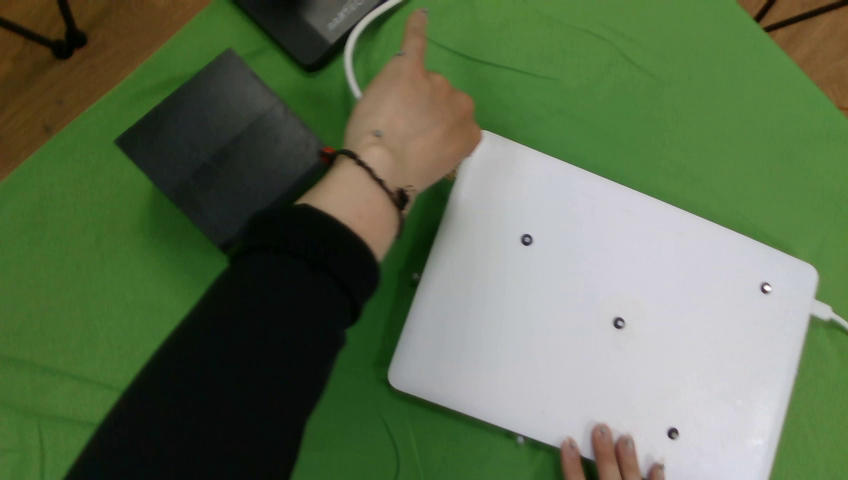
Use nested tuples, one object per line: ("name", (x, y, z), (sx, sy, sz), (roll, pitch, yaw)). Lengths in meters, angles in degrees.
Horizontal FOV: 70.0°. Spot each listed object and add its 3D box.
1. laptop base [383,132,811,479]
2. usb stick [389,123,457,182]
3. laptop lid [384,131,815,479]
("laptop base", (0.164, 0.072, 0.541), (0.355, 0.023, 0.235), (21, 83, -7))
("usb stick", (0.001, -0.069, 0.495), (0.059, 0.027, 0.021), (37, 94, -7))
("laptop lid", (0.165, 0.072, 0.529), (0.357, 0.013, 0.241), (22, 82, -7))
